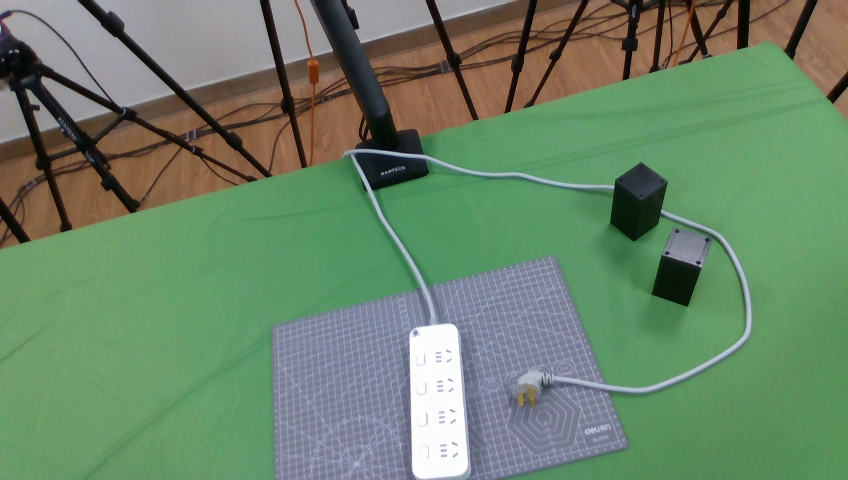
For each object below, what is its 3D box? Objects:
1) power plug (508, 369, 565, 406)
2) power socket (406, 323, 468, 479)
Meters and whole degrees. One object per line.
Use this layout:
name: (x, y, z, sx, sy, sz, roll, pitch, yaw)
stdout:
power plug: (0.146, 0.190, 0.786, 0.072, 0.035, 0.052, -13, 33, 16)
power socket: (0.015, 0.210, 0.804, 0.072, 0.033, 0.224, -7, 53, 5)
